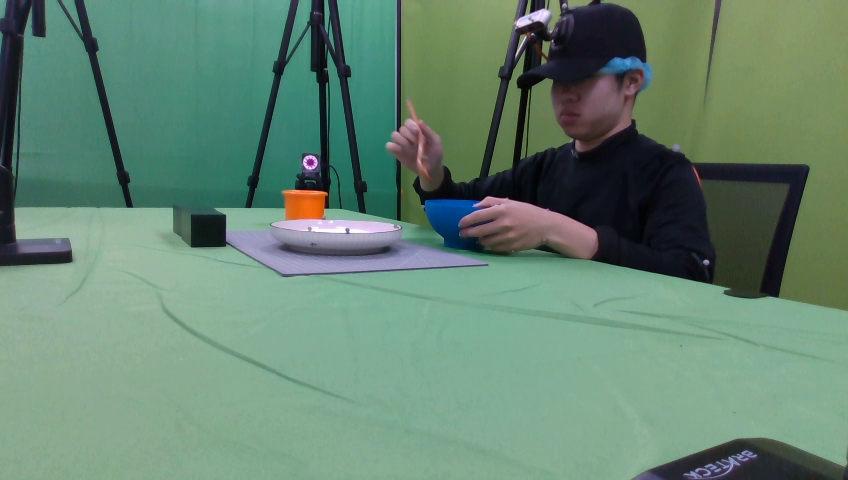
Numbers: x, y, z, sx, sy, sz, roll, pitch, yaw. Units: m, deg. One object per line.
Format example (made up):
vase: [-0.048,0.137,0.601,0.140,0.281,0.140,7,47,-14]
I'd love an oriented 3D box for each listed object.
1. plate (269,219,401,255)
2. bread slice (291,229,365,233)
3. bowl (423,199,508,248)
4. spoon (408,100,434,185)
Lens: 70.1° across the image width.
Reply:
plate: [-0.140,-0.006,0.958,0.209,0.038,0.209,3,7,0]
bread slice: [-0.143,-0.003,0.953,0.135,0.018,0.106,-1,8,-37]
bowl: [0.072,-0.028,1.065,0.151,0.077,0.151,2,7,0]
spoon: [-0.006,-0.182,1.111,0.021,0.193,0.042,-16,-28,15]
